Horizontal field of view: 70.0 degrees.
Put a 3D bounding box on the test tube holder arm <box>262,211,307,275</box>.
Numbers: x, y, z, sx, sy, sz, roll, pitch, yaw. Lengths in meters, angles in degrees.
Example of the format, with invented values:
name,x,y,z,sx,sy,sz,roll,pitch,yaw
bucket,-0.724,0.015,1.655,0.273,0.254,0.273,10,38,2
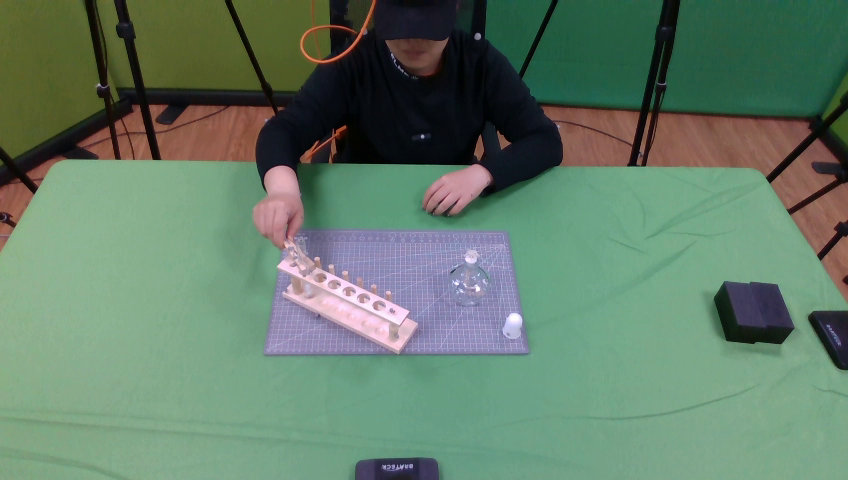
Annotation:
name,x,y,z,sx,sy,sz,roll,pitch,yaw
test tube holder arm,-0.242,0.002,1.044,0.013,0.015,0.177,-24,47,-25

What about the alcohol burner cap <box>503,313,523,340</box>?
name,x,y,z,sx,sy,sz,roll,pitch,yaw
alcohol burner cap,0.156,0.148,1.051,0.034,0.048,0.033,1,45,-1

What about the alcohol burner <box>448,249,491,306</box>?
name,x,y,z,sx,sy,sz,roll,pitch,yaw
alcohol burner,0.081,0.062,1.078,0.078,0.120,0.077,1,45,-1

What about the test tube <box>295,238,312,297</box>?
name,x,y,z,sx,sy,sz,roll,pitch,yaw
test tube,-0.202,0.050,1.018,0.017,0.151,0.017,2,50,-3

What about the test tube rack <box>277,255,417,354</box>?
name,x,y,z,sx,sy,sz,roll,pitch,yaw
test tube rack,-0.131,0.099,1.045,0.241,0.085,0.066,23,49,17

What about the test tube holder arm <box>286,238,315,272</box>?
name,x,y,z,sx,sy,sz,roll,pitch,yaw
test tube holder arm,-0.211,0.024,1.019,0.010,0.015,0.087,-30,50,-30
